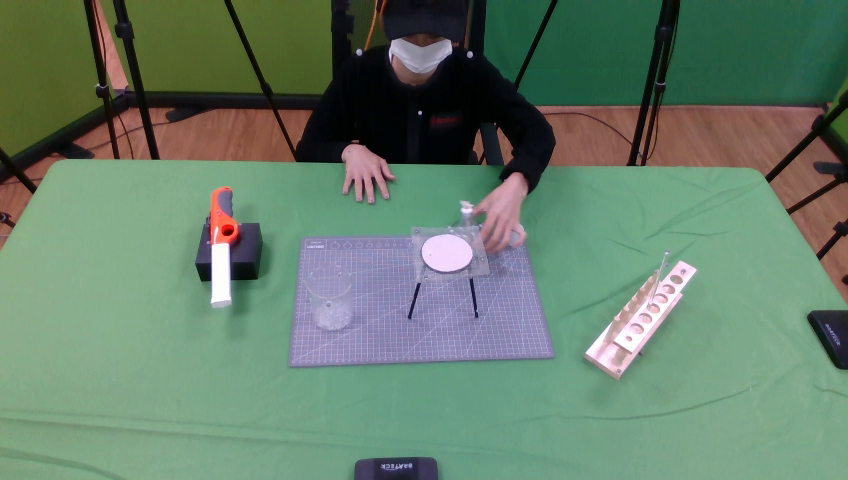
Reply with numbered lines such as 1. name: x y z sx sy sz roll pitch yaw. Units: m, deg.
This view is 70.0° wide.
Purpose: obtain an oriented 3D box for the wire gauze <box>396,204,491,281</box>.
1. wire gauze: 0.032 0.004 0.999 0.125 0.011 0.120 -22 54 -14

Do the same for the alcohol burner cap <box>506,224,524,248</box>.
1. alcohol burner cap: 0.183 -0.010 1.206 0.034 0.048 0.033 1 45 -1

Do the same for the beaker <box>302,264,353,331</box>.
1. beaker: -0.162 0.101 1.030 0.084 0.101 0.073 4 46 0

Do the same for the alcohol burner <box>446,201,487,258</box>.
1. alcohol burner: 0.080 -0.024 1.151 0.078 0.120 0.077 -4 42 4

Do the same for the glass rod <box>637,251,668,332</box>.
1. glass rod: 0.378 0.090 1.005 0.008 0.201 0.008 -1 44 1

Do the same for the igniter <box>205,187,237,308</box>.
1. igniter: -0.367 0.004 1.097 0.057 0.025 0.274 -7 51 -11

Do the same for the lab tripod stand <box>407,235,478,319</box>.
1. lab tripod stand: 0.032 0.065 1.057 0.148 0.132 0.147 1 45 -1

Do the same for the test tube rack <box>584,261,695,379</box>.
1. test tube rack: 0.380 0.127 1.062 0.066 0.085 0.242 34 53 26
